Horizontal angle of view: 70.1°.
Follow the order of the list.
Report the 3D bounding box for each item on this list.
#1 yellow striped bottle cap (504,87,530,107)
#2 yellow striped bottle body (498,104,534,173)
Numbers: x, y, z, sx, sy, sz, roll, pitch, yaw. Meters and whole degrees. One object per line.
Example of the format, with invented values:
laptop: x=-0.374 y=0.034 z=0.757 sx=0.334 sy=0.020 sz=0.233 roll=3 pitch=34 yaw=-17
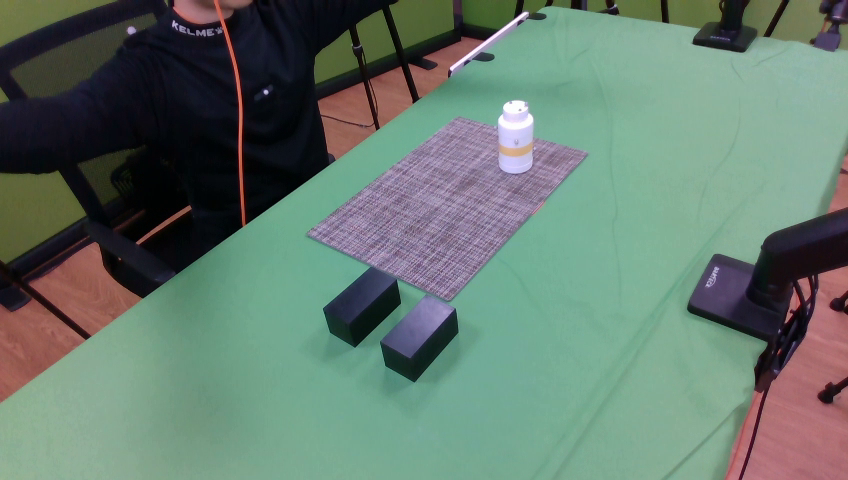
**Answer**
yellow striped bottle cap: x=0.159 y=-0.244 z=1.033 sx=0.044 sy=0.019 sz=0.044 roll=-7 pitch=34 yaw=5
yellow striped bottle body: x=0.164 y=-0.186 z=1.078 sx=0.063 sy=0.121 sz=0.062 roll=-4 pitch=41 yaw=4
